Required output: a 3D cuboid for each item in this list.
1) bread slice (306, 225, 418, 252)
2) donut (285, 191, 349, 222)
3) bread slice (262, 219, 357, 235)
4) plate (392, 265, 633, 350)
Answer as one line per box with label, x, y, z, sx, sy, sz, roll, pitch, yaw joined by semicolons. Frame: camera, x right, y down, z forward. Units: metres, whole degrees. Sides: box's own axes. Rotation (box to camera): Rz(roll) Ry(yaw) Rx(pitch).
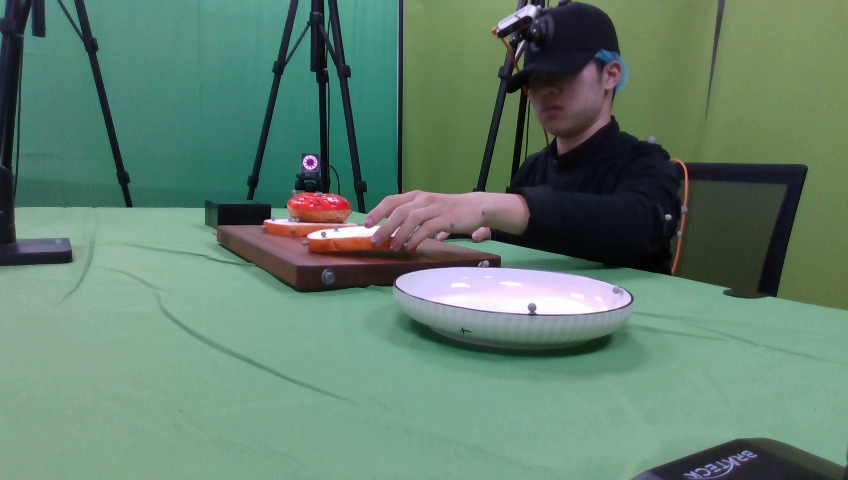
bread slice;-0.078;-0.003;0.752;0.135;0.018;0.106;-3;9;-11
donut;-0.165;-0.051;0.936;0.099;0.048;0.099;4;9;0
bread slice;-0.179;-0.021;0.930;0.132;0.019;0.104;-1;7;-34
plate;0.074;0.057;0.533;0.209;0.038;0.209;3;7;0
